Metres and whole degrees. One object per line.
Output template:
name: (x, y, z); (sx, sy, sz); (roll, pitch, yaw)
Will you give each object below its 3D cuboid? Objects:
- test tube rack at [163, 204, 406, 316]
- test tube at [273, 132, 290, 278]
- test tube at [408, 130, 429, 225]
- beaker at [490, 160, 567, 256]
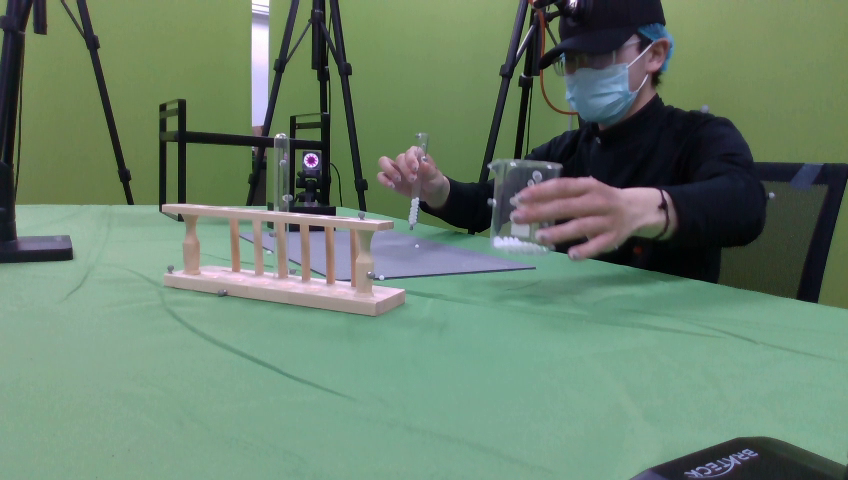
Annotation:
test tube rack: (-0.141, 0.013, 0.601); (0.241, 0.085, 0.067); (5, 8, 21)
test tube: (-0.146, -0.034, 0.617); (0.017, 0.150, 0.017); (2, 8, 0)
test tube: (-0.009, -0.095, 0.944); (0.017, 0.150, 0.017); (7, 16, -2)
beaker: (0.110, -0.035, 0.662); (0.084, 0.100, 0.074); (4, 6, 0)
